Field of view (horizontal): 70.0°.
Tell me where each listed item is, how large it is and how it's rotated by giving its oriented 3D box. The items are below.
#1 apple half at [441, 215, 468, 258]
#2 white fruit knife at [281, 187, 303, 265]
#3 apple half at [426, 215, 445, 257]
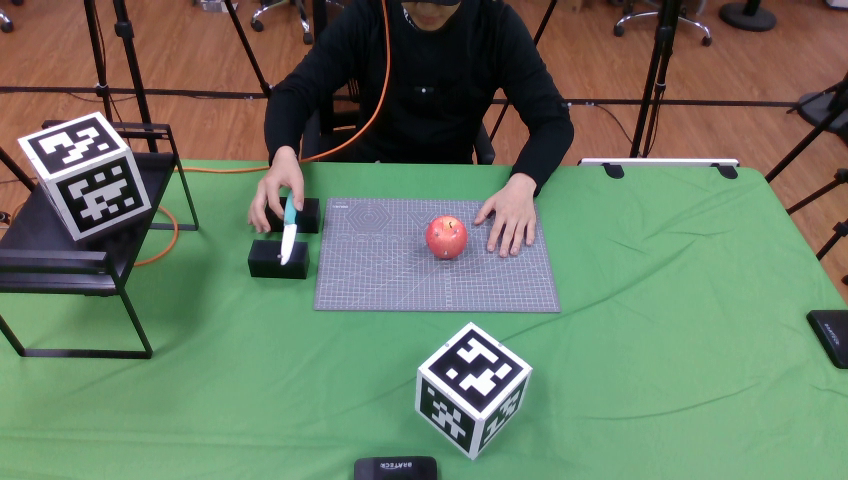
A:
[{"bbox_3d":[0.058,-0.004,1.162,0.053,0.075,0.080,4,41,-6],"label":"apple half"},{"bbox_3d":[-0.252,-0.031,1.141,0.027,0.016,0.206,14,43,-17],"label":"white fruit knife"},{"bbox_3d":[0.019,-0.006,1.158,0.033,0.081,0.081,3,46,-7],"label":"apple half"}]
